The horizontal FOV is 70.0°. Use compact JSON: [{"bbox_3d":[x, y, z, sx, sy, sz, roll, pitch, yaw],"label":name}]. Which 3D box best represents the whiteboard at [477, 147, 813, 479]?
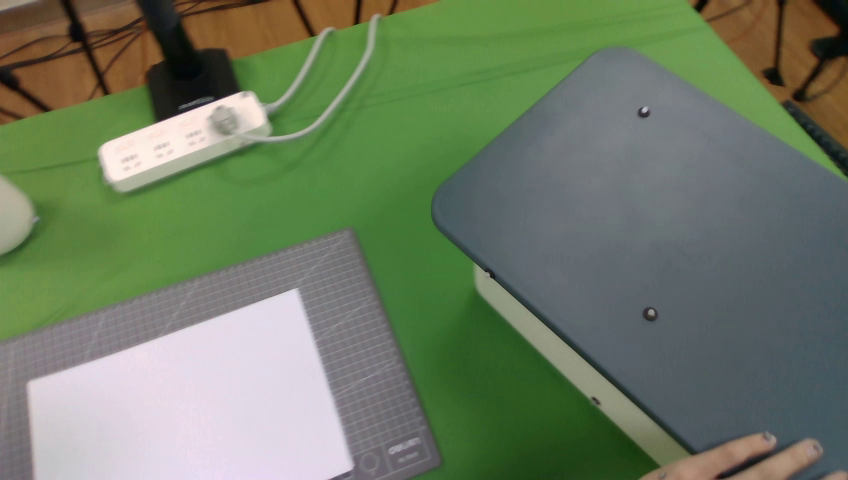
[{"bbox_3d":[0.244,0.048,0.618,0.217,0.145,0.303,-39,67,-23],"label":"whiteboard"}]

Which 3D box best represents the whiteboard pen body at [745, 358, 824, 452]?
[{"bbox_3d":[0.371,0.164,0.616,0.141,0.017,0.017,-36,65,-22],"label":"whiteboard pen body"}]

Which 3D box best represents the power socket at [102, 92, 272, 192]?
[{"bbox_3d":[-0.307,-0.130,0.793,0.227,0.033,0.071,-24,63,-12],"label":"power socket"}]

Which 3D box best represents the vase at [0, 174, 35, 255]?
[{"bbox_3d":[-0.525,-0.062,0.663,0.098,0.201,0.097,-1,60,2],"label":"vase"}]

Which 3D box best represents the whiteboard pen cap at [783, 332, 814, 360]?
[{"bbox_3d":[0.392,0.112,0.637,0.033,0.018,0.018,-36,65,-17],"label":"whiteboard pen cap"}]

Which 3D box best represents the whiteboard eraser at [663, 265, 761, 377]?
[{"bbox_3d":[0.291,0.081,0.613,0.055,0.042,0.112,30,63,23],"label":"whiteboard eraser"}]

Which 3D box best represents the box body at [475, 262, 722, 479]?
[{"bbox_3d":[0.250,0.051,0.601,0.254,0.162,0.361,-39,66,-19],"label":"box body"}]

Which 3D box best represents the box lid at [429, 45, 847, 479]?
[{"bbox_3d":[0.210,0.000,0.484,0.263,0.015,0.368,-42,68,-16],"label":"box lid"}]

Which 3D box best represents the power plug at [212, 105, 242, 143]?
[{"bbox_3d":[-0.249,-0.139,0.771,0.035,0.053,0.072,-15,67,-7],"label":"power plug"}]
